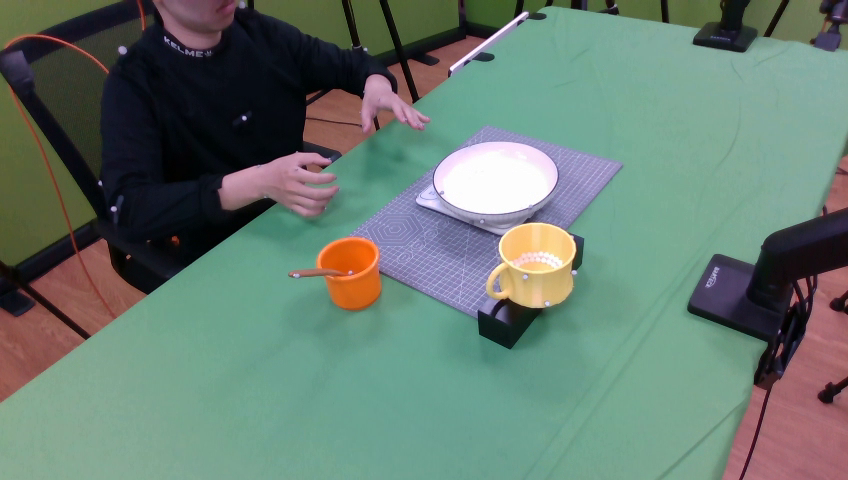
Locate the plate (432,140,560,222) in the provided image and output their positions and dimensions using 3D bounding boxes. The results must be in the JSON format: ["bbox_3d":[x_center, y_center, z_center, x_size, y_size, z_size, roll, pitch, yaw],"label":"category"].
[{"bbox_3d":[0.118,-0.094,0.999,0.209,0.038,0.208,-4,41,4],"label":"plate"}]

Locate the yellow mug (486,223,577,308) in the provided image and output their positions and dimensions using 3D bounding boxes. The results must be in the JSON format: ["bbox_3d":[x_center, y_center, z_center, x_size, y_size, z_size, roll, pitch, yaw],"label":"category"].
[{"bbox_3d":[0.136,0.038,0.793,0.131,0.064,0.099,-25,43,-19],"label":"yellow mug"}]

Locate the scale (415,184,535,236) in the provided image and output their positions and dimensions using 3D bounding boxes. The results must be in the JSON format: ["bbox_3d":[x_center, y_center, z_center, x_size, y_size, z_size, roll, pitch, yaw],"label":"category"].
[{"bbox_3d":[0.099,-0.080,1.035,0.199,0.032,0.149,23,48,31],"label":"scale"}]

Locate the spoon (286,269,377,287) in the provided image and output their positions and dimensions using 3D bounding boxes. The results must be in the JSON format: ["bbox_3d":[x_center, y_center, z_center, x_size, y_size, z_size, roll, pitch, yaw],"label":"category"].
[{"bbox_3d":[-0.125,0.050,0.831,0.041,0.195,0.021,23,93,27],"label":"spoon"}]
